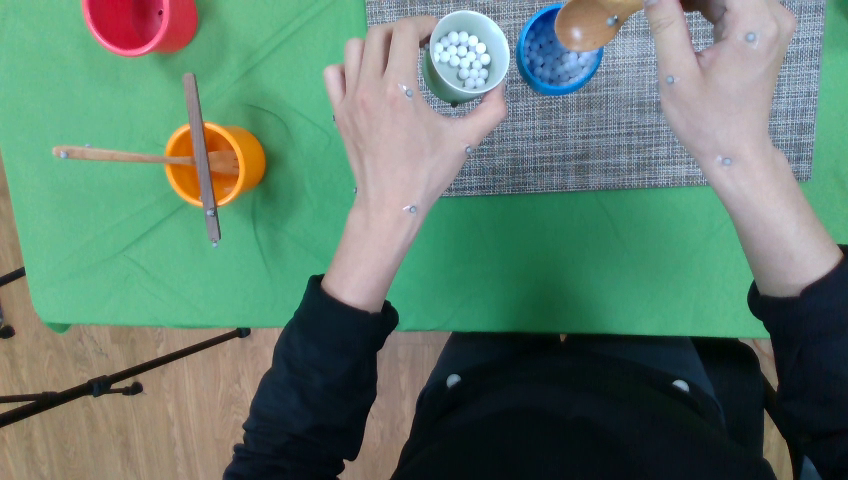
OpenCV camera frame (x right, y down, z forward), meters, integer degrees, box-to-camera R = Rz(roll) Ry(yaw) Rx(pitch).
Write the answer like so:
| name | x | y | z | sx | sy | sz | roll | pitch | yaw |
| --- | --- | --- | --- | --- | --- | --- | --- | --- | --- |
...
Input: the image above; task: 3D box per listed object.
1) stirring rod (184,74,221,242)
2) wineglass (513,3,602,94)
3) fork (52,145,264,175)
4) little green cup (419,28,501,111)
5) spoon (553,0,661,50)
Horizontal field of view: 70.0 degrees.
| name | x | y | z | sx | sy | sz | roll | pitch | yaw |
| --- | --- | --- | --- | --- | --- | --- | --- | --- | --- |
| stirring rod | -0.233 | -0.084 | 0.638 | 0.014 | 0.006 | 0.177 | -2 | 103 | 10 |
| wineglass | 0.117 | -0.168 | 0.547 | 0.073 | 0.172 | 0.074 | 2 | 104 | 9 |
| fork | -0.275 | -0.086 | 0.647 | 0.208 | 0.018 | 0.028 | -1 | 116 | -35 |
| little green cup | 0.027 | -0.132 | 0.465 | 0.061 | 0.038 | 0.062 | -1 | 113 | -2 |
| spoon | 0.140 | -0.151 | 0.372 | 0.021 | 0.192 | 0.042 | -41 | 107 | -12 |
